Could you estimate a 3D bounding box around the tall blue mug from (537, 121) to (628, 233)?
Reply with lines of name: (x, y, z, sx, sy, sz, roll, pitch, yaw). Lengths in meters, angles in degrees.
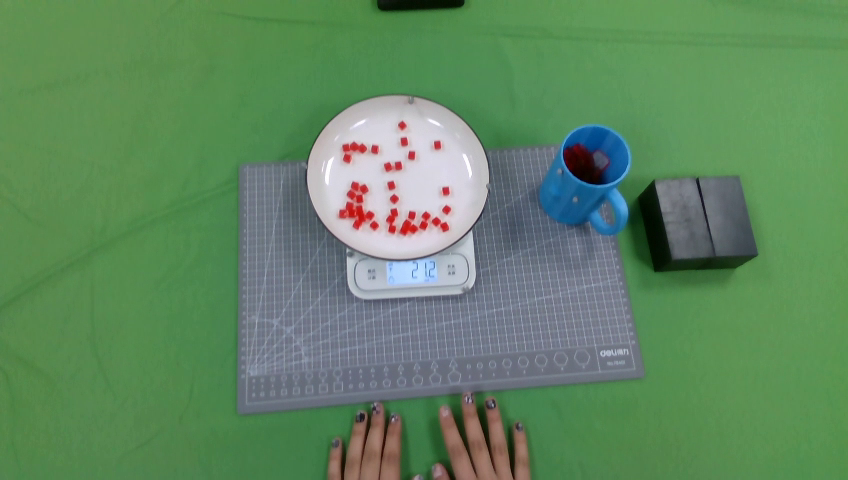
tall blue mug: (0.192, -0.068, 0.696, 0.107, 0.108, 0.077, 33, 73, 9)

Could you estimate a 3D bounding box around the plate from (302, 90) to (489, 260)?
plate: (-0.031, -0.072, 0.693, 0.209, 0.038, 0.207, 1, 72, -3)

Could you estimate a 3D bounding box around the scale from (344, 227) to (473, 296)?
scale: (-0.021, -0.036, 0.716, 0.149, 0.032, 0.199, -3, 72, -3)
